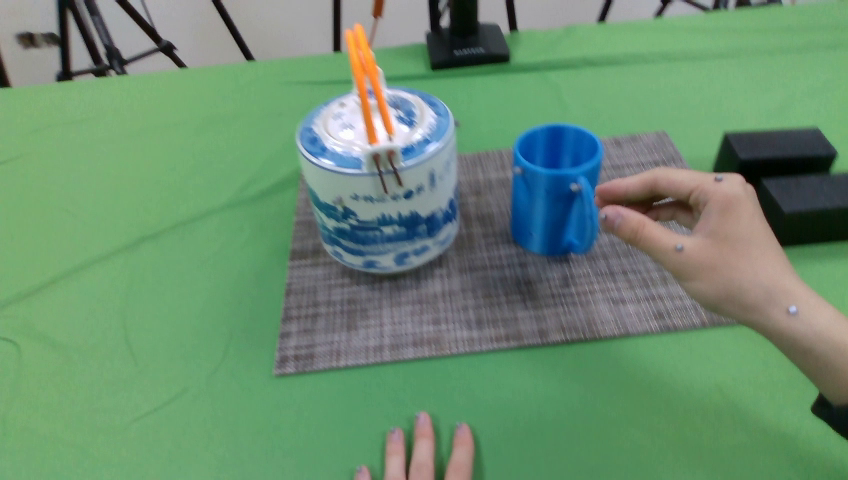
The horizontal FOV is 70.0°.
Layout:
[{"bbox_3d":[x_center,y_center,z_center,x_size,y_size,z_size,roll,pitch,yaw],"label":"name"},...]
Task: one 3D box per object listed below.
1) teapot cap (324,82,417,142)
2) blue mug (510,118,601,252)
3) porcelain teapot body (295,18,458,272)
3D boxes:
[{"bbox_3d":[-0.048,-0.116,0.536,0.085,0.044,0.084,-1,42,1],"label":"teapot cap"},{"bbox_3d":[0.132,-0.043,0.585,0.082,0.107,0.115,-18,45,-12],"label":"blue mug"},{"bbox_3d":[-0.050,-0.106,0.583,0.145,0.227,0.203,-12,44,-5],"label":"porcelain teapot body"}]
